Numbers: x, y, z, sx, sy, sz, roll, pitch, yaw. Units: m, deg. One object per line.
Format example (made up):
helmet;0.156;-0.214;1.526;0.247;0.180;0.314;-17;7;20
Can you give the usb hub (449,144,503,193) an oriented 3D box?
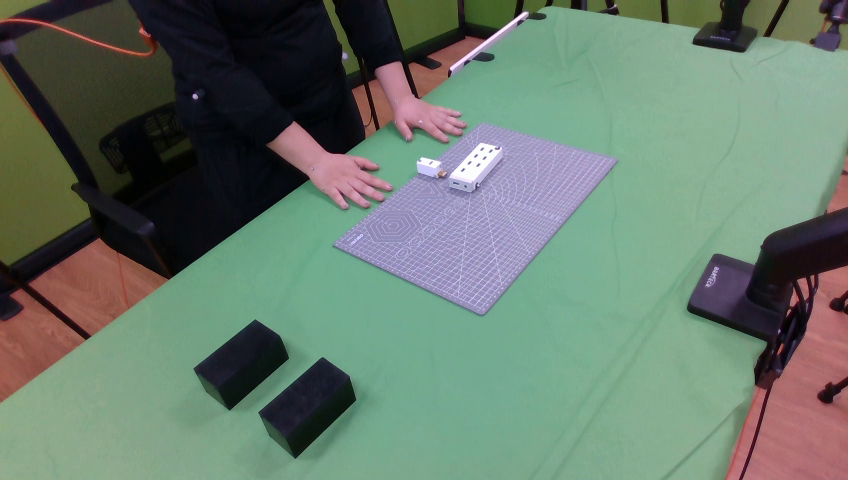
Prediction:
usb hub;0.096;-0.132;1.105;0.049;0.025;0.125;18;47;27

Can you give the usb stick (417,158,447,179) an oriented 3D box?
usb stick;0.016;-0.130;1.114;0.059;0.027;0.021;21;44;27
